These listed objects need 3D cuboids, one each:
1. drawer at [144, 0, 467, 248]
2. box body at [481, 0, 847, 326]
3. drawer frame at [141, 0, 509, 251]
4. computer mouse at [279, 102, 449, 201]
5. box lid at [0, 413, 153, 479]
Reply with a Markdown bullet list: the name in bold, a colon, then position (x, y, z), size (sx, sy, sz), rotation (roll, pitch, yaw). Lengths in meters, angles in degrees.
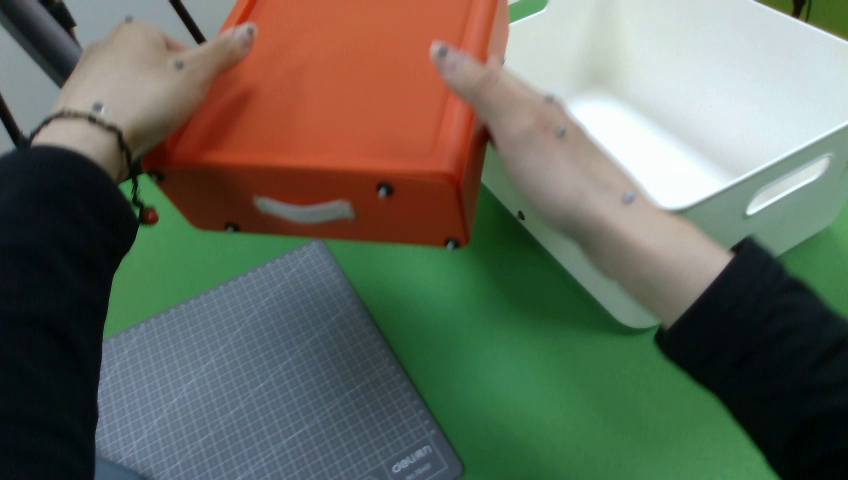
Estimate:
- **drawer**: position (-0.053, -0.101, 0.425), size (0.194, 0.074, 0.210), rotation (3, 56, 15)
- **box body**: position (0.188, -0.120, 0.583), size (0.254, 0.162, 0.360), rotation (-26, 48, -14)
- **drawer frame**: position (-0.053, -0.105, 0.425), size (0.201, 0.083, 0.212), rotation (3, 56, 14)
- **computer mouse**: position (-0.042, -0.065, 0.429), size (0.117, 0.041, 0.062), rotation (15, 48, 15)
- **box lid**: position (-0.409, 0.250, 0.455), size (0.369, 0.015, 0.261), rotation (10, 51, 20)
